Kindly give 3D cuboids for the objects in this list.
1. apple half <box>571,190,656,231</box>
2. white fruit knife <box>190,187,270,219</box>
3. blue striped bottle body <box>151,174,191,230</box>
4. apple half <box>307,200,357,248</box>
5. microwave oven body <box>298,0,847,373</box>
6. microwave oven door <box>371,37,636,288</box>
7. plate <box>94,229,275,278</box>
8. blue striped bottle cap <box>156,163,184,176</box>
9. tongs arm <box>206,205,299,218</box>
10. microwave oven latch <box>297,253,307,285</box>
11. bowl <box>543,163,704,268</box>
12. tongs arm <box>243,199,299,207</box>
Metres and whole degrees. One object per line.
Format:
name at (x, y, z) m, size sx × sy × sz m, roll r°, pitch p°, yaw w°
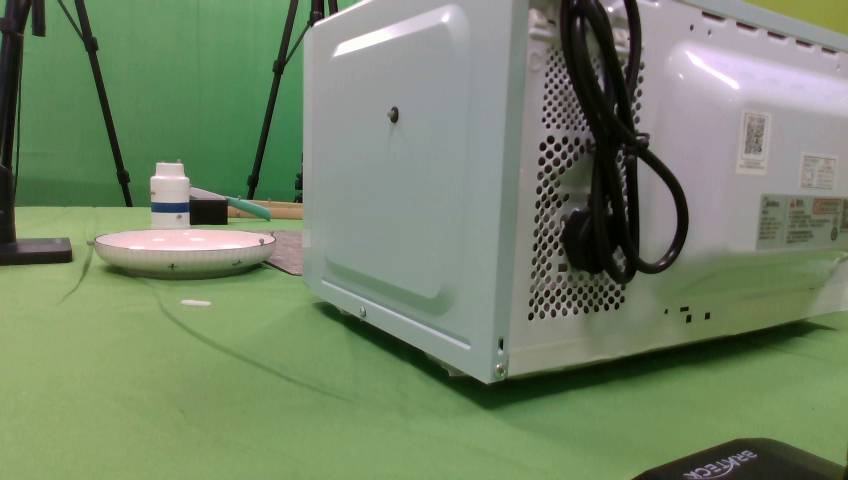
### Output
apple half at (0.182, -0.031, 0.582) m, size 0.081 × 0.033 × 0.081 m, roll 12°, pitch -4°, yaw 1°
white fruit knife at (-0.413, -0.081, 1.270) m, size 0.208 × 0.027 × 0.016 m, roll 17°, pitch 13°, yaw -41°
blue striped bottle body at (-0.439, -0.071, 1.052) m, size 0.063 × 0.120 × 0.063 m, roll 2°, pitch 7°, yaw 0°
apple half at (-0.135, -0.024, 0.941) m, size 0.053 × 0.074 × 0.081 m, roll 13°, pitch 8°, yaw 38°
microwave oven body at (0.151, -0.055, 0.542) m, size 0.444 × 0.260 × 0.324 m, roll -1°, pitch 7°, yaw -33°
microwave oven door at (0.109, -0.080, 0.686) m, size 0.358 × 0.243 × 0.039 m, roll -2°, pitch 9°, yaw -33°
plate at (-0.291, 0.016, 0.749) m, size 0.208 × 0.039 × 0.207 m, roll 2°, pitch 7°, yaw 0°
blue striped bottle cap at (-0.438, -0.122, 1.045) m, size 0.044 × 0.020 × 0.044 m, roll 5°, pitch 6°, yaw 0°
tongs arm at (-0.302, -0.065, 1.407) m, size 0.389 × 0.028 × 0.028 m, roll 1°, pitch 4°, yaw -15°
microwave oven latch at (-0.082, 0.027, 0.582) m, size 0.079 × 0.029 × 0.030 m, roll -1°, pitch 7°, yaw -33°
bowl at (0.181, -0.021, 0.584) m, size 0.151 × 0.077 × 0.151 m, roll 13°, pitch 7°, yaw -1°
tongs arm at (-0.309, -0.079, 1.487) m, size 0.385 × 0.026 × 0.050 m, roll 3°, pitch 7°, yaw -2°
